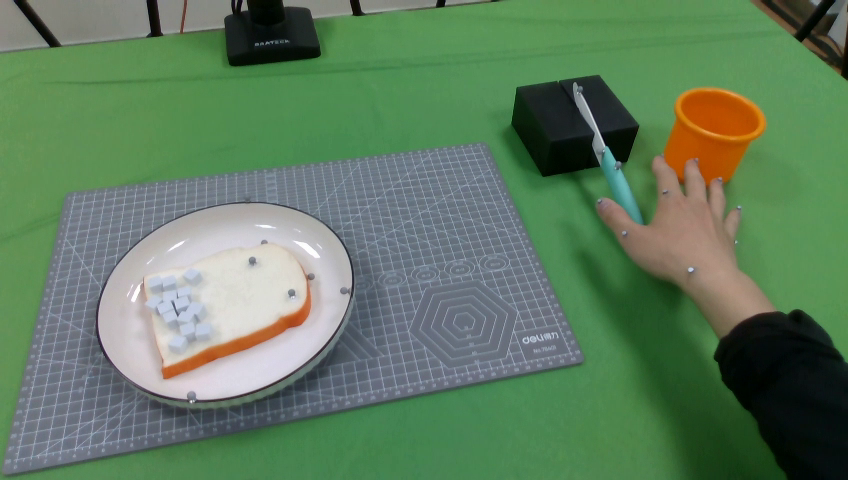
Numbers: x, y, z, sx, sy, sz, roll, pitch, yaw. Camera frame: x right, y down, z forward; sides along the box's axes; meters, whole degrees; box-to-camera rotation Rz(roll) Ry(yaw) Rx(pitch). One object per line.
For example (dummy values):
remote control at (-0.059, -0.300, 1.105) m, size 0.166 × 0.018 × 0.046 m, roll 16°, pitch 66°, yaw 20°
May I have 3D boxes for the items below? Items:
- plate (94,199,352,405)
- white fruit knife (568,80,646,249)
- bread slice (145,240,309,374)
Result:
plate at (-0.164, 0.049, 0.517) m, size 0.209 × 0.038 × 0.207 m, roll 2°, pitch 48°, yaw -1°
white fruit knife at (0.185, -0.087, 0.627) m, size 0.016 × 0.027 × 0.205 m, roll -10°, pitch 64°, yaw -11°
bread slice at (-0.168, 0.047, 0.522) m, size 0.132 × 0.019 × 0.103 m, roll -21°, pitch 53°, yaw -18°
